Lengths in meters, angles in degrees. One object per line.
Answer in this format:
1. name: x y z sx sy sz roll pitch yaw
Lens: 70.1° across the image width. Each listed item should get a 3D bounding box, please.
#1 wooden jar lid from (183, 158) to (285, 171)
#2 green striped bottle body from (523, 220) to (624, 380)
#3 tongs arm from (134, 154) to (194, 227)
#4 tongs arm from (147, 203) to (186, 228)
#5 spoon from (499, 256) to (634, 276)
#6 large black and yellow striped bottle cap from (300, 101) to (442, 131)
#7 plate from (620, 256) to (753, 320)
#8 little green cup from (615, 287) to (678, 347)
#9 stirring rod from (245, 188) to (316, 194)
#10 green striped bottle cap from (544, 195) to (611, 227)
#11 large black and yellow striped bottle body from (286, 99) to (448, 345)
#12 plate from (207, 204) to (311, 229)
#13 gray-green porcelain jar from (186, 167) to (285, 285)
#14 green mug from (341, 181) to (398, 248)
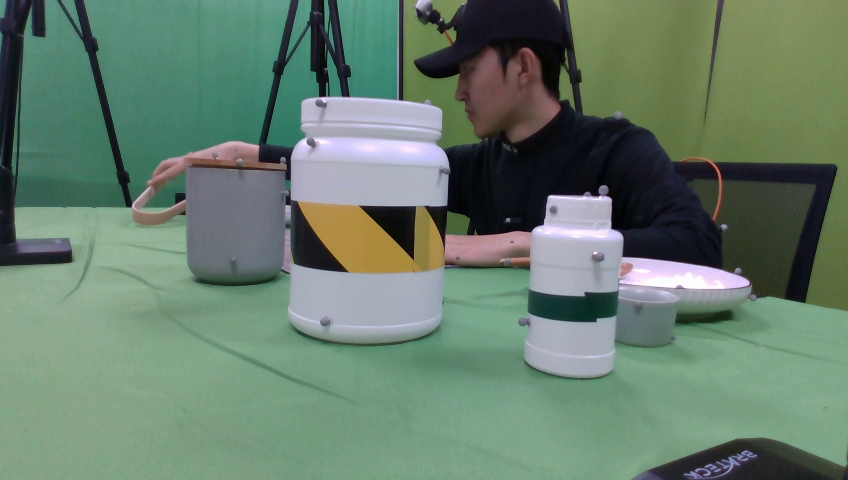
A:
1. wooden jar lid: -0.210 -0.078 0.674 0.108 0.020 0.108 5 6 0
2. green striped bottle body: 0.104 0.031 0.422 0.063 0.119 0.063 2 8 0
3. tongs arm: -0.540 -0.117 1.299 0.051 0.026 0.384 13 23 -6
4. tongs arm: -0.471 -0.102 1.302 0.028 0.028 0.387 20 24 2
5. spoon: 0.162 0.027 0.679 0.195 0.021 0.041 8 2 -30
6. large black and yellow striped bottle cap: -0.042 -0.100 0.491 0.115 0.019 0.115 1 8 0
7. plate: 0.234 0.049 0.651 0.209 0.038 0.209 2 7 0
8. little green cup: 0.180 0.064 0.506 0.061 0.038 0.061 1 9 0
9. stirring rod: -0.350 -0.120 1.489 0.177 0.014 0.006 -3 4 -28
10. green striped bottle cap: 0.105 -0.020 0.415 0.044 0.020 0.044 2 5 0
11. large black and yellow striped bottle body: -0.047 -0.018 0.501 0.131 0.184 0.130 2 7 0
12. plate: -0.342 -0.050 1.259 0.208 0.039 0.207 2 7 0
13. gray-green porcelain jar: -0.212 -0.017 0.682 0.106 0.126 0.106 2 7 0
14. green mug: -0.089 -0.044 0.997 0.093 0.105 0.125 1 7 -8
